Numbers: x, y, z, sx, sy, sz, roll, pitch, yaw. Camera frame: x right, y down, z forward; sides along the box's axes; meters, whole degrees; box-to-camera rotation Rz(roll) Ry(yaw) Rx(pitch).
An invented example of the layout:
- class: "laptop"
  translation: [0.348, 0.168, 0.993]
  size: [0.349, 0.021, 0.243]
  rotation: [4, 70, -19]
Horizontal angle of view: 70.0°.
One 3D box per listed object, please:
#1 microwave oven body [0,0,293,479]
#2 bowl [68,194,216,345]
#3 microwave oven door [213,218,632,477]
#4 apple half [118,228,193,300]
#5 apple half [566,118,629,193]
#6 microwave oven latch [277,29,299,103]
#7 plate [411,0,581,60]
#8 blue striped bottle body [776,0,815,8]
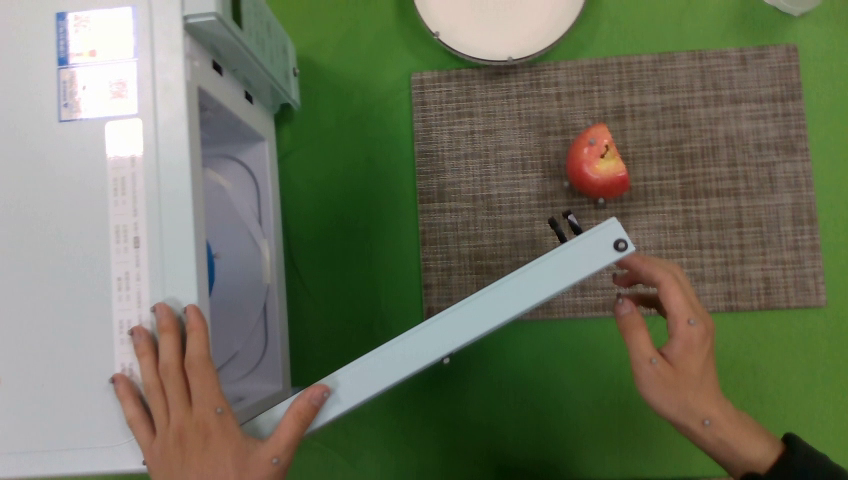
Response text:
- class: "microwave oven body"
  translation: [-0.303, -0.022, 0.601]
  size: [0.326, 0.260, 0.440]
  rotation: [-5, 86, 3]
- class: "bowl"
  translation: [-0.279, 0.028, 0.637]
  size: [0.151, 0.077, 0.151]
  rotation: [1, 96, 9]
- class: "microwave oven door"
  translation: [0.005, 0.089, 0.568]
  size: [0.356, 0.244, 0.039]
  rotation: [-31, 83, 1]
- class: "apple half"
  translation: [-0.281, 0.026, 0.626]
  size: [0.081, 0.032, 0.081]
  rotation: [-1, 95, -7]
- class: "apple half"
  translation: [0.185, -0.087, 0.667]
  size: [0.053, 0.075, 0.080]
  rotation: [-24, 88, 7]
- class: "microwave oven latch"
  translation: [-0.163, -0.202, 0.703]
  size: [0.030, 0.029, 0.079]
  rotation: [-5, 86, 3]
- class: "plate"
  translation: [0.084, -0.308, 0.713]
  size: [0.207, 0.039, 0.207]
  rotation: [0, 86, 4]
- class: "blue striped bottle body"
  translation: [0.427, -0.305, 0.647]
  size: [0.063, 0.121, 0.063]
  rotation: [0, 85, 4]
